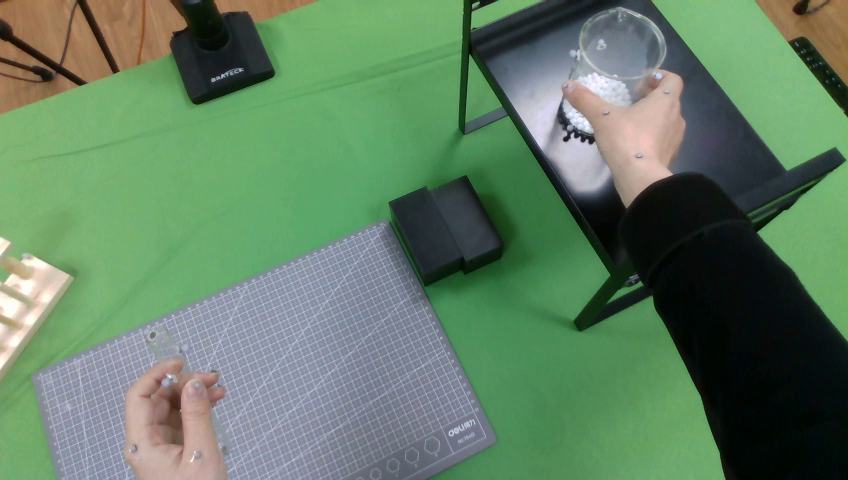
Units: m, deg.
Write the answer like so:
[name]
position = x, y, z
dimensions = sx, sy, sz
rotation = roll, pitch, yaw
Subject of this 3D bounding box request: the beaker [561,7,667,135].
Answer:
[beaker]
position = 0.171, -0.153, 0.565
dimensions = 0.074, 0.101, 0.083
rotation = 7, 69, 3

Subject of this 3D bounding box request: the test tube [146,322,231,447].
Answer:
[test tube]
position = -0.174, 0.115, 0.457
dimensions = 0.017, 0.151, 0.017
rotation = -3, 43, 3

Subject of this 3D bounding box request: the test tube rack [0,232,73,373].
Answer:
[test tube rack]
position = -0.512, 0.112, 0.670
dimensions = 0.066, 0.086, 0.241
rotation = 25, 72, 10
